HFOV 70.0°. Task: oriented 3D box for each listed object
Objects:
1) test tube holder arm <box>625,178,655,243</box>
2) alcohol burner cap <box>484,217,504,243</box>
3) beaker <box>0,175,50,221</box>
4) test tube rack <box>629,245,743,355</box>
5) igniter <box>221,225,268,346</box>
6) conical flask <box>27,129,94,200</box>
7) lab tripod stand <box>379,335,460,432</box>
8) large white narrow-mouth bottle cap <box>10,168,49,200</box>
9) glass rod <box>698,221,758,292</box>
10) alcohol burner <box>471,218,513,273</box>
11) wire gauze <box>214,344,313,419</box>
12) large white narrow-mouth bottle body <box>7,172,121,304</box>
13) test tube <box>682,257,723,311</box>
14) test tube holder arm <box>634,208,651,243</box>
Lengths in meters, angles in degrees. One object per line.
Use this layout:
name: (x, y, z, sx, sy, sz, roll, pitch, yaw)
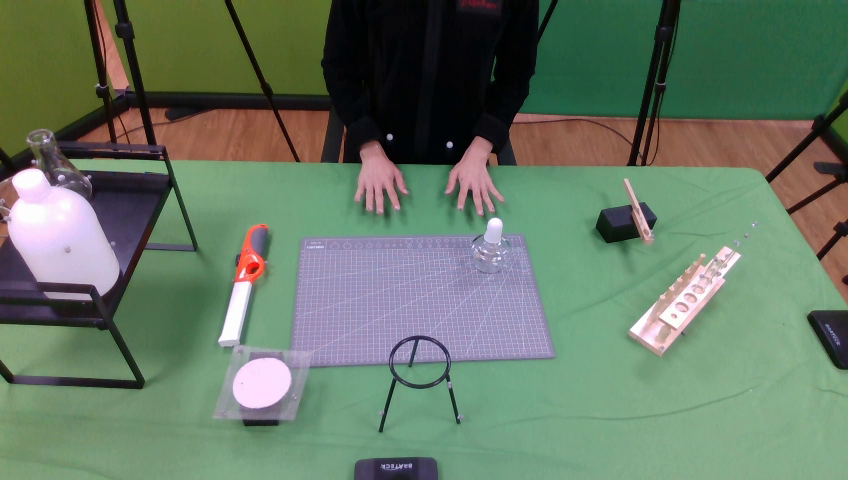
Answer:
test tube holder arm: (0.433, -0.063, 1.220, 0.013, 0.015, 0.177, 1, 47, -3)
alcohol burner cap: (0.130, -0.021, 1.107, 0.034, 0.048, 0.033, 4, 40, -3)
beaker: (-0.569, -0.035, 0.886, 0.074, 0.101, 0.083, -12, 48, -14)
test tube rack: (0.474, 0.095, 1.091, 0.242, 0.085, 0.066, -34, 56, -31)
igniter: (-0.323, 0.072, 1.100, 0.057, 0.025, 0.274, -6, 45, 5)
conical flask: (-0.575, -0.113, 0.946, 0.075, 0.122, 0.075, 2, 46, -2)
lab tripod stand: (-0.011, 0.214, 0.911, 0.148, 0.132, 0.147, 1, 45, 0)
large white narrow-mouth bottle cap: (-0.479, -0.068, 0.737, 0.038, 0.024, 0.037, 2, 46, -2)
glass rod: (0.527, 0.035, 1.059, 0.008, 0.200, 0.008, 5, 49, -6)
alcohol burner: (0.128, 0.005, 1.132, 0.078, 0.120, 0.077, 0, 47, 0)
wire gauze: (-0.241, 0.213, 0.916, 0.121, 0.011, 0.124, 5, 46, 1)
large white narrow-mouth bottle body: (-0.482, -0.008, 0.800, 0.102, 0.195, 0.101, 2, 46, -2)
test tube: (0.475, 0.080, 1.037, 0.017, 0.151, 0.017, 1, 50, -1)
test tube holder arm: (0.428, -0.030, 1.189, 0.010, 0.015, 0.087, 1, 47, -2)
